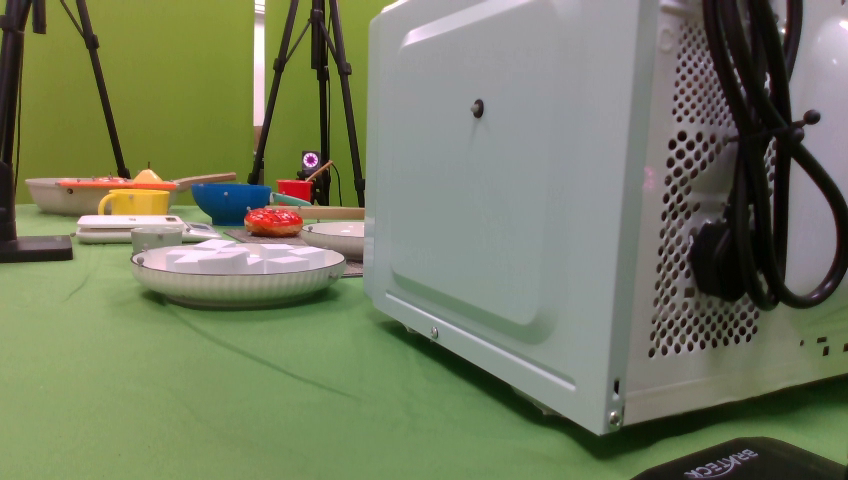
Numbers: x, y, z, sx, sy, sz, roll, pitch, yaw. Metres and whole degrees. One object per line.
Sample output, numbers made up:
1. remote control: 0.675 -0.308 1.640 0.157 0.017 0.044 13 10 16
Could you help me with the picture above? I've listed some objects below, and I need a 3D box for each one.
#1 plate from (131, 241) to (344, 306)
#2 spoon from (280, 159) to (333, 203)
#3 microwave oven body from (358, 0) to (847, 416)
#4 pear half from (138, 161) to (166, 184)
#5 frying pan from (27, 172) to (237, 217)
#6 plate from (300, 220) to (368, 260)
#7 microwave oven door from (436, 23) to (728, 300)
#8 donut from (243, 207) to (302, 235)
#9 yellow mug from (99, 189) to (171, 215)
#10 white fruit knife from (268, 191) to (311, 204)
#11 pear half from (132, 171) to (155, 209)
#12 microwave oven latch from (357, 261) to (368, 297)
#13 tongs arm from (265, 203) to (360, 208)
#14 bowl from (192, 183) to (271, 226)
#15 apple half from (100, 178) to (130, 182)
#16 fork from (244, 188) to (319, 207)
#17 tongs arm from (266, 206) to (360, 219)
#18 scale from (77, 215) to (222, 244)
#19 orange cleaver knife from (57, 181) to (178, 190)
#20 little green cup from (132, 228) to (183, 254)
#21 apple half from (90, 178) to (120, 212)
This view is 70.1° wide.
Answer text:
1. plate: -0.187 0.033 0.625 0.208 0.039 0.207 2 8 0
2. spoon: -0.316 -0.159 1.640 0.194 0.022 0.041 -50 32 -20
3. microwave oven body: 0.211 -0.047 0.475 0.444 0.260 0.324 -1 7 -28
4. pear half: -0.602 -0.120 1.354 0.056 0.110 0.076 4 11 5
5. frying pan: -0.624 -0.118 1.387 0.305 0.102 0.490 8 17 32
6. plate: -0.078 -0.001 0.890 0.209 0.038 0.209 2 8 0
7. microwave oven door: 0.180 -0.072 0.621 0.358 0.243 0.039 -2 9 -29
8. donut: -0.261 -0.032 1.043 0.099 0.048 0.099 4 9 0
9. yellow mug: -0.519 -0.055 1.080 0.099 0.064 0.131 7 9 26
10. white fruit knife: -0.364 -0.105 1.464 0.208 0.027 0.016 15 0 -34
11. pear half: -0.636 -0.113 1.362 0.031 0.088 0.070 3 13 1
12. microwave oven latch: -0.019 0.033 0.531 0.079 0.029 0.030 -1 7 -27
13. tongs arm: -0.210 -0.070 1.439 0.389 0.027 0.028 1 1 -17
14. bowl: -0.382 -0.071 1.202 0.151 0.077 0.151 3 7 0
15. apple half: -0.638 -0.093 1.265 0.053 0.074 0.081 7 5 10
16. fork: -0.356 -0.105 1.526 0.208 0.018 0.028 16 -5 -41
17. tongs arm: -0.173 -0.061 1.362 0.387 0.026 0.050 -1 5 -31
18. scale: -0.434 -0.019 0.963 0.202 0.031 0.148 -1 9 -27
19. orange cleaver knife: -0.600 -0.109 1.189 0.212 0.012 0.077 -1 11 -26
20. little green cup: -0.342 0.006 0.779 0.061 0.038 0.061 2 8 0
21. apple half: -0.676 -0.096 1.271 0.033 0.081 0.081 7 8 10
